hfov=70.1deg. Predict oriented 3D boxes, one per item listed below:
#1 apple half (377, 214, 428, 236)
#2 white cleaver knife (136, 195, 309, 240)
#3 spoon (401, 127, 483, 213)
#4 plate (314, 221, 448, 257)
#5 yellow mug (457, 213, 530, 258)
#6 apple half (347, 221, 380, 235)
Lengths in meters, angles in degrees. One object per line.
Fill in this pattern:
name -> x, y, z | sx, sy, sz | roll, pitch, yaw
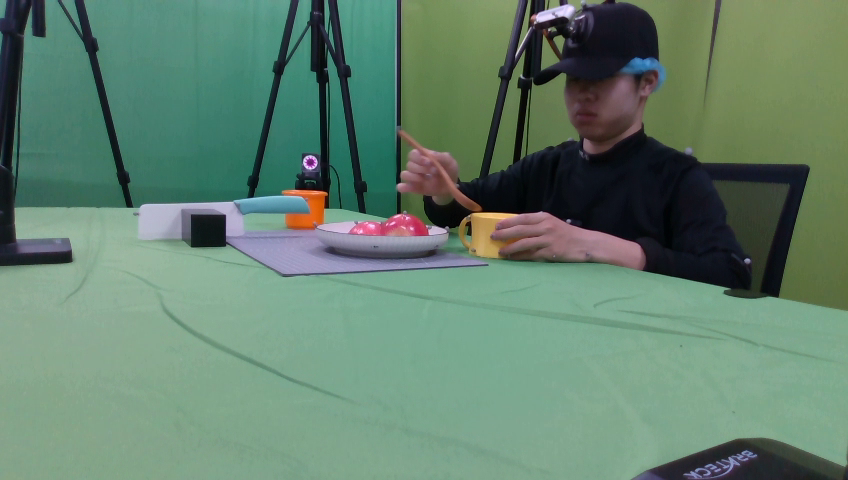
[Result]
apple half -> -0.034, -0.013, 0.924 | 0.080, 0.053, 0.075 | 5, 10, 16
white cleaver knife -> -0.337, -0.039, 1.037 | 0.288, 0.066, 0.021 | -6, 15, -29
spoon -> 0.028, -0.114, 0.982 | 0.021, 0.193, 0.041 | -37, -11, -5
plate -> -0.066, -0.002, 0.948 | 0.209, 0.038, 0.209 | 3, 7, 0
yellow mug -> 0.109, -0.011, 0.992 | 0.130, 0.064, 0.100 | 6, 7, 36
apple half -> -0.089, -0.014, 0.985 | 0.081, 0.033, 0.081 | 5, 6, 0
